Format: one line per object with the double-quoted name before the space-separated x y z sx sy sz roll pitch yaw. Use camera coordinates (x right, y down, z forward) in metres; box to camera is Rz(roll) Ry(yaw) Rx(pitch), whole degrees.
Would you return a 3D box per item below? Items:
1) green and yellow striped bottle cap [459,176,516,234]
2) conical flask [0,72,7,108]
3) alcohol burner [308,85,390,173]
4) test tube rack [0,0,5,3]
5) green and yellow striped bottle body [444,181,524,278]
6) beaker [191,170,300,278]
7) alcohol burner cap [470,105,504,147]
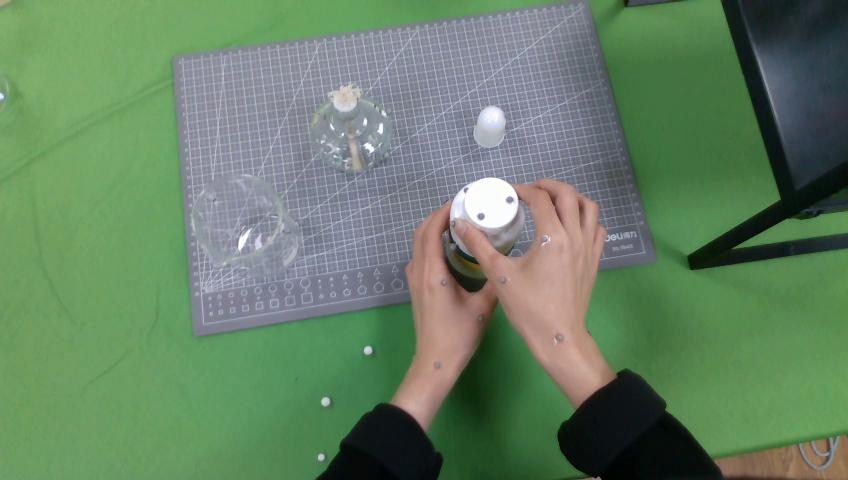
"green and yellow striped bottle cap" 0.050 -0.028 0.480 0.045 0.020 0.045 1 75 -2
"conical flask" -0.467 -0.165 0.571 0.075 0.122 0.075 0 75 0
"alcohol burner" -0.071 -0.109 0.565 0.078 0.119 0.077 1 74 -2
"test tube rack" -0.420 -0.327 0.631 0.242 0.085 0.066 -30 77 -8
"green and yellow striped bottle body" 0.051 -0.011 0.528 0.063 0.120 0.063 0 72 -1
"beaker" -0.156 -0.006 0.545 0.074 0.101 0.083 19 77 5
"alcohol burner cap" 0.065 -0.116 0.606 0.034 0.048 0.033 0 75 -1
